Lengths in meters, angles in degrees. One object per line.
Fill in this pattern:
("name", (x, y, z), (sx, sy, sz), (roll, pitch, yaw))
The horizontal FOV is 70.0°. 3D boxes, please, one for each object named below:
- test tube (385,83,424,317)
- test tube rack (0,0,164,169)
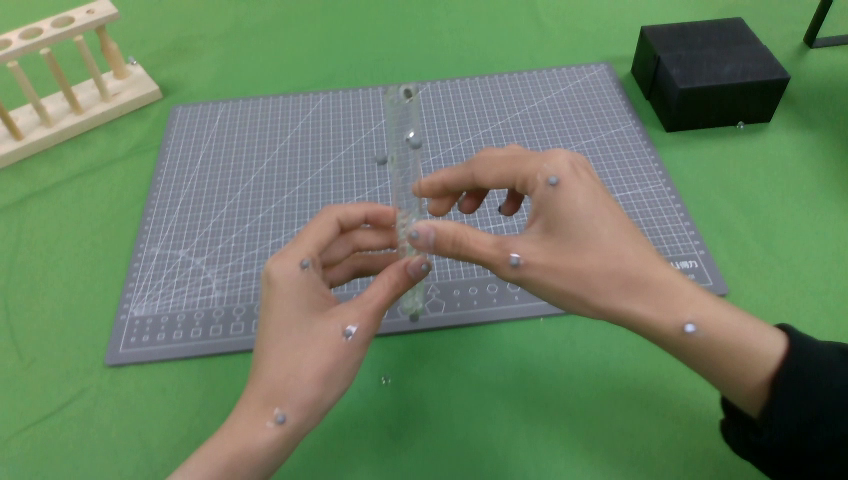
("test tube", (-0.009, -0.012, 0.322), (0.017, 0.151, 0.017), (-1, 42, 1))
("test tube rack", (-0.386, -0.133, 0.568), (0.242, 0.086, 0.066), (-32, 55, -22))
